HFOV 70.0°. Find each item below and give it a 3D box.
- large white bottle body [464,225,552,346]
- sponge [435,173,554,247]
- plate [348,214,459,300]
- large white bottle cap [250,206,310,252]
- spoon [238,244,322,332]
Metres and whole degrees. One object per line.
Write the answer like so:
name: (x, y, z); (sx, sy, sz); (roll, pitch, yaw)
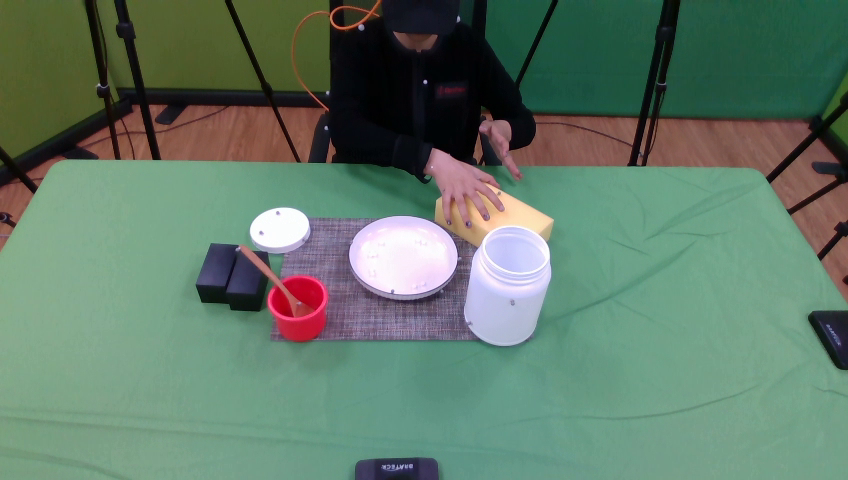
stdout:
large white bottle body: (0.141, 0.076, 1.017); (0.131, 0.185, 0.130); (2, 46, -2)
sponge: (0.138, -0.041, 1.215); (0.206, 0.061, 0.118); (32, 52, 24)
plate: (-0.040, 0.034, 1.146); (0.209, 0.038, 0.208); (2, 47, -2)
large white bottle cap: (-0.284, -0.023, 1.198); (0.115, 0.018, 0.114); (1, 46, 0)
spoon: (-0.240, 0.079, 1.015); (0.194, 0.021, 0.041); (53, 51, -15)
